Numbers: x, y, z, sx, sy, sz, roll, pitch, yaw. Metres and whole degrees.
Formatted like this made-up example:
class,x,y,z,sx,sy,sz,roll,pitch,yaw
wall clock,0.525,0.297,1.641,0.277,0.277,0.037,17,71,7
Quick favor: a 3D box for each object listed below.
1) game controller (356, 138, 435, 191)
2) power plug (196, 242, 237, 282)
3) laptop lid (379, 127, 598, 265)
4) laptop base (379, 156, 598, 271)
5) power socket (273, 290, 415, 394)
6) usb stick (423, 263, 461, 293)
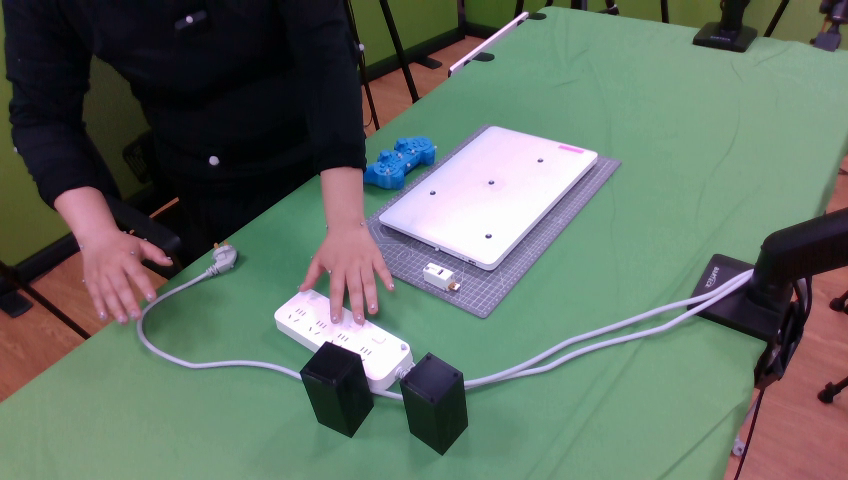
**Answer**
class,x,y,z,sx,sy,sz,roll,pitch,yaw
game controller,-0.049,-0.150,1.136,0.096,0.052,0.155,27,51,28
power plug,-0.336,0.031,0.968,0.073,0.035,0.052,-18,58,-30
laptop lid,0.117,-0.095,1.048,0.239,0.013,0.358,23,49,34
laptop base,0.120,-0.085,1.054,0.233,0.023,0.355,21,48,34
power socket,-0.114,0.133,0.820,0.225,0.033,0.072,24,48,31
usb stick,0.028,0.058,0.889,0.059,0.027,0.021,25,48,29
